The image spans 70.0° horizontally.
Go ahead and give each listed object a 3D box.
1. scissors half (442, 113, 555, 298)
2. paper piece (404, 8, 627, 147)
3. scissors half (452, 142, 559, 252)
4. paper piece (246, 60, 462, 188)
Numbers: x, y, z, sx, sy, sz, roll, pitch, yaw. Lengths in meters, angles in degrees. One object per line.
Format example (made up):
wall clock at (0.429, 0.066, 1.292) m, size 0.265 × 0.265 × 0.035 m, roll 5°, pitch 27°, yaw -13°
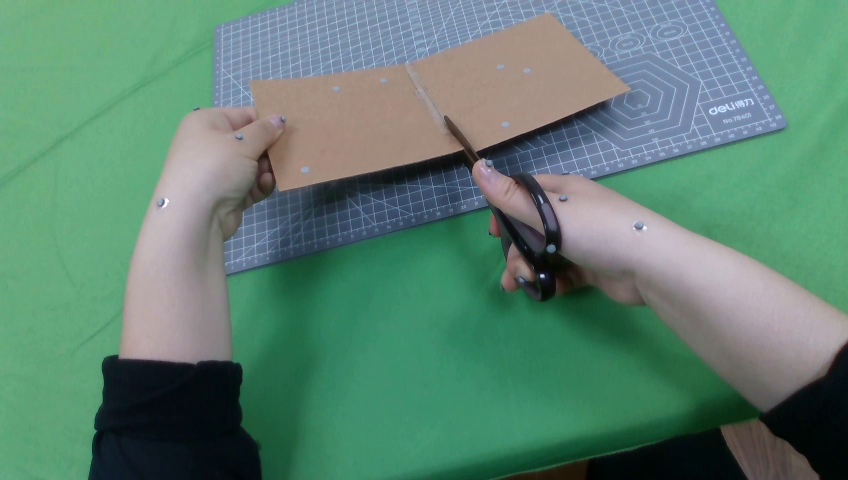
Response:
scissors half at (0.044, -0.031, 0.416) m, size 0.013 × 0.040 × 0.173 m, roll -19°, pitch 58°, yaw -9°
paper piece at (0.067, -0.137, 0.487) m, size 0.135 × 0.004 × 0.134 m, roll -22°, pitch 50°, yaw -5°
scissors half at (0.042, -0.047, 0.401) m, size 0.013 × 0.040 × 0.173 m, roll -16°, pitch 33°, yaw -13°
paper piece at (-0.058, -0.096, 0.463) m, size 0.138 × 0.009 × 0.134 m, roll -15°, pitch 44°, yaw -13°
